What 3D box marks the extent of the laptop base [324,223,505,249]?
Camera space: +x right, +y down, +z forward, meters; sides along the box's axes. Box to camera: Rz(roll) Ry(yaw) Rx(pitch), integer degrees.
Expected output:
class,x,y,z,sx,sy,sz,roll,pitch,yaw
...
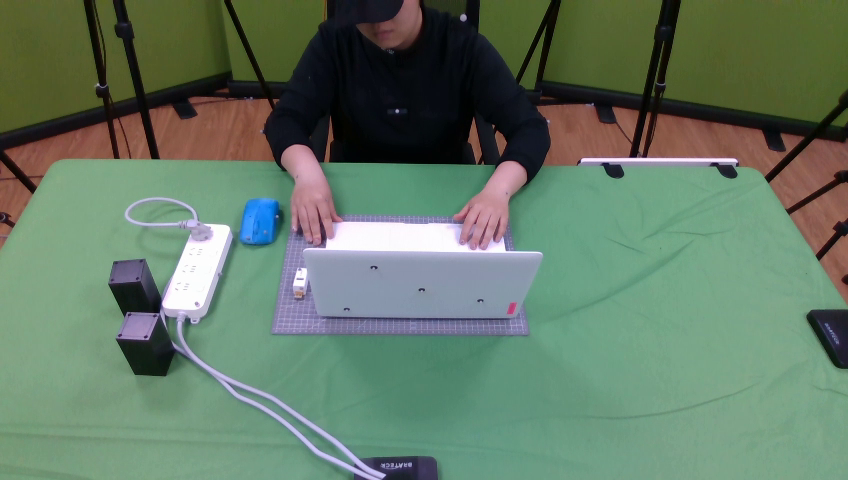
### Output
class,x,y,z,sx,sy,sz,roll,pitch,yaw
laptop base,-0.016,0.054,1.145,0.354,0.023,0.234,1,42,-3

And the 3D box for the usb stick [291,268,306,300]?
class,x,y,z,sx,sy,sz,roll,pitch,yaw
usb stick,-0.227,0.081,1.093,0.021,0.027,0.059,6,47,-4

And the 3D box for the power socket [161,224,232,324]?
class,x,y,z,sx,sy,sz,roll,pitch,yaw
power socket,-0.411,0.052,1.107,0.072,0.033,0.225,4,45,-1

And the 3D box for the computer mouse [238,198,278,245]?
class,x,y,z,sx,sy,sz,roll,pitch,yaw
computer mouse,-0.328,-0.039,1.200,0.063,0.041,0.116,3,50,-4

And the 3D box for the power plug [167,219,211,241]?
class,x,y,z,sx,sy,sz,roll,pitch,yaw
power plug,-0.438,-0.017,1.143,0.072,0.053,0.035,10,43,7

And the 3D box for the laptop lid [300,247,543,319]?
class,x,y,z,sx,sy,sz,roll,pitch,yaw
laptop lid,-0.006,0.075,0.963,0.357,0.242,0.013,2,58,-4
